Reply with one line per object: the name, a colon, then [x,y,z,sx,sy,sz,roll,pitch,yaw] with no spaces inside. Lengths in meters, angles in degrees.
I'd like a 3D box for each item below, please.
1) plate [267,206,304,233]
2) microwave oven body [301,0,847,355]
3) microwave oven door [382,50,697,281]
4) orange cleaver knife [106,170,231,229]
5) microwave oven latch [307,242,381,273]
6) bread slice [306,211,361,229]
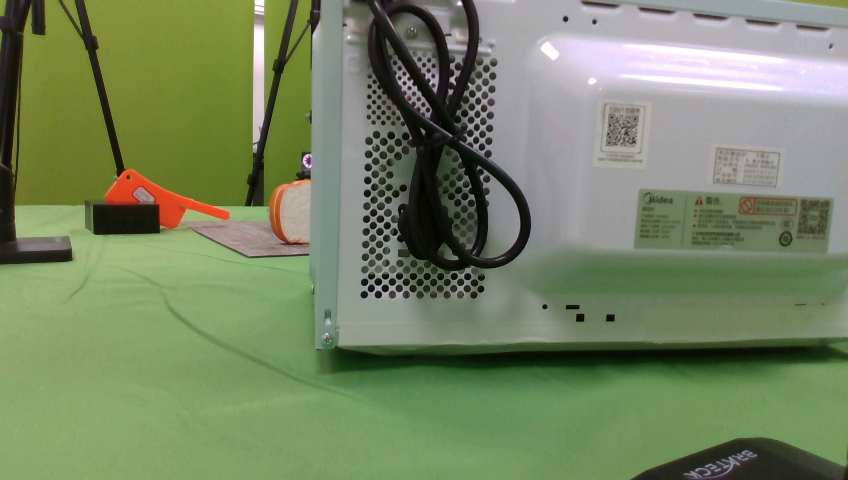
plate: [-0.197,-0.039,1.175,0.208,0.039,0.207,2,7,0]
microwave oven body: [0.120,-0.053,0.535,0.443,0.260,0.325,2,7,-11]
microwave oven door: [0.135,-0.077,0.685,0.357,0.243,0.039,1,8,-12]
orange cleaver knife: [-0.458,-0.060,1.097,0.212,0.077,0.012,23,-5,-38]
microwave oven latch: [-0.086,0.019,0.656,0.079,0.029,0.030,2,7,-10]
bread slice: [-0.173,-0.040,1.173,0.107,0.018,0.134,-2,10,-8]
